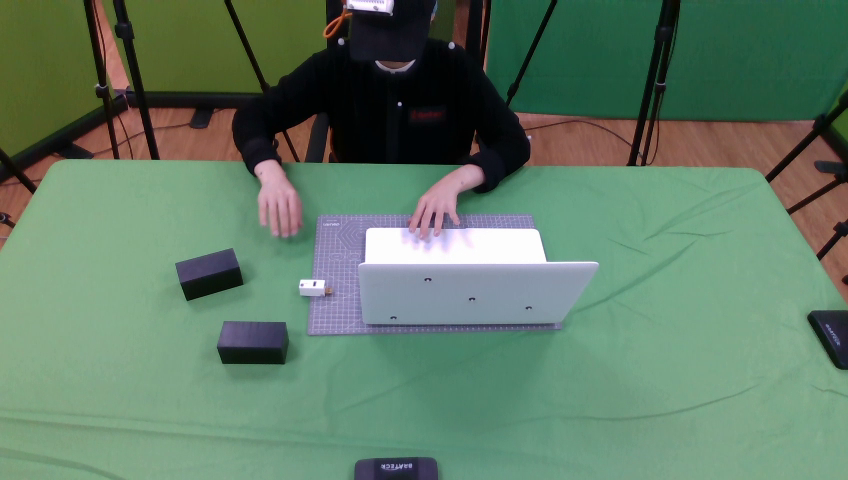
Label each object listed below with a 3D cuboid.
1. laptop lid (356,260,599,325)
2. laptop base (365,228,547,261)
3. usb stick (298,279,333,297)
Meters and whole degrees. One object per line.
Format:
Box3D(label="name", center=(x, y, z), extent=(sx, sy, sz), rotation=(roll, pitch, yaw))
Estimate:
Box3D(label="laptop lid", center=(0.074, 0.089, 0.958), extent=(0.357, 0.242, 0.013), rotation=(1, 60, -5))
Box3D(label="laptop base", center=(0.064, 0.063, 1.142), extent=(0.355, 0.023, 0.234), rotation=(0, 42, -4))
Box3D(label="usb stick", center=(-0.195, 0.087, 1.092), extent=(0.059, 0.027, 0.021), rotation=(5, 46, -3))
